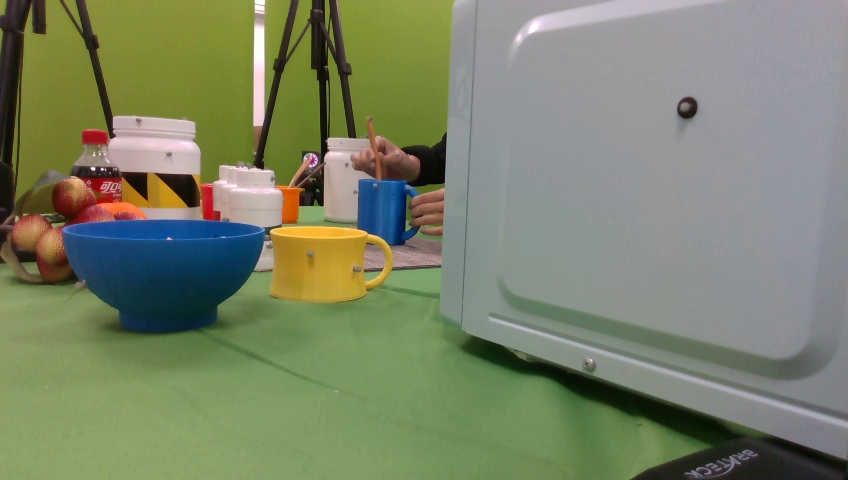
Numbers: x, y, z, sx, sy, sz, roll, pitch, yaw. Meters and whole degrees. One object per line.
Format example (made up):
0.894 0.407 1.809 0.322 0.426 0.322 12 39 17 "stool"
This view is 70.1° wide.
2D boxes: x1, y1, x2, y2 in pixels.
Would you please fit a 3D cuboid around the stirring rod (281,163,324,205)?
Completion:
-0.278 -0.105 1.293 0.176 0.006 0.014 -47 24 -18 "stirring rod"

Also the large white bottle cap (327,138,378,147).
-0.160 -0.218 1.357 0.115 0.018 0.115 2 8 0 "large white bottle cap"

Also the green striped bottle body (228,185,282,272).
-0.208 -0.023 0.745 0.063 0.119 0.063 3 7 0 "green striped bottle body"

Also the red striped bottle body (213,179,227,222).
-0.284 -0.048 0.909 0.063 0.119 0.063 3 10 0 "red striped bottle body"

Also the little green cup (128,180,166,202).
-0.485 -0.087 1.062 0.061 0.038 0.061 -1 6 0 "little green cup"

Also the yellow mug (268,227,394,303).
-0.094 0.023 0.629 0.131 0.064 0.099 0 6 -22 "yellow mug"

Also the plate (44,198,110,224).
-0.617 -0.056 1.179 0.209 0.038 0.209 3 7 0 "plate"

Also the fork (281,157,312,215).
-0.289 -0.116 1.321 0.028 0.019 0.207 6 51 19 "fork"

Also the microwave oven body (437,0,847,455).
0.279 -0.040 0.464 0.444 0.260 0.324 -3 8 -41 "microwave oven body"

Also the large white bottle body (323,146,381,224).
-0.163 -0.134 1.369 0.131 0.184 0.130 2 8 0 "large white bottle body"

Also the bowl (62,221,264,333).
-0.209 0.029 0.496 0.151 0.077 0.151 2 7 0 "bowl"

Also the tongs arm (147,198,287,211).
-0.504 -0.091 1.513 0.028 0.028 0.389 -1 4 37 "tongs arm"

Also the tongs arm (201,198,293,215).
-0.423 -0.084 1.473 0.050 0.026 0.386 2 6 21 "tongs arm"

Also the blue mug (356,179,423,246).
-0.056 -0.046 1.005 0.116 0.106 0.082 5 8 20 "blue mug"

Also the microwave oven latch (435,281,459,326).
0.044 0.046 0.470 0.079 0.029 0.030 -3 8 -40 "microwave oven latch"

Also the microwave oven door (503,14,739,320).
0.218 -0.065 0.600 0.358 0.243 0.039 -4 10 -41 "microwave oven door"

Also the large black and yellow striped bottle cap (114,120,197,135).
-0.407 -0.171 0.920 0.115 0.019 0.115 2 9 0 "large black and yellow striped bottle cap"

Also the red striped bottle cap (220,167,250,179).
-0.281 -0.100 0.901 0.044 0.017 0.044 0 5 0 "red striped bottle cap"

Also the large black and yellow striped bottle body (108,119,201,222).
-0.412 -0.088 0.930 0.131 0.184 0.130 3 7 0 "large black and yellow striped bottle body"

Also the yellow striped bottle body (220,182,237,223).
-0.246 -0.036 0.825 0.063 0.120 0.063 3 8 0 "yellow striped bottle body"

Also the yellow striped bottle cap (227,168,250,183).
-0.243 -0.087 0.818 0.044 0.018 0.044 4 6 0 "yellow striped bottle cap"

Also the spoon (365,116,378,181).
-0.084 -0.111 1.007 0.022 0.193 0.041 -1 -7 -23 "spoon"

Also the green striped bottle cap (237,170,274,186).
-0.205 -0.075 0.737 0.044 0.020 0.044 2 6 0 "green striped bottle cap"
